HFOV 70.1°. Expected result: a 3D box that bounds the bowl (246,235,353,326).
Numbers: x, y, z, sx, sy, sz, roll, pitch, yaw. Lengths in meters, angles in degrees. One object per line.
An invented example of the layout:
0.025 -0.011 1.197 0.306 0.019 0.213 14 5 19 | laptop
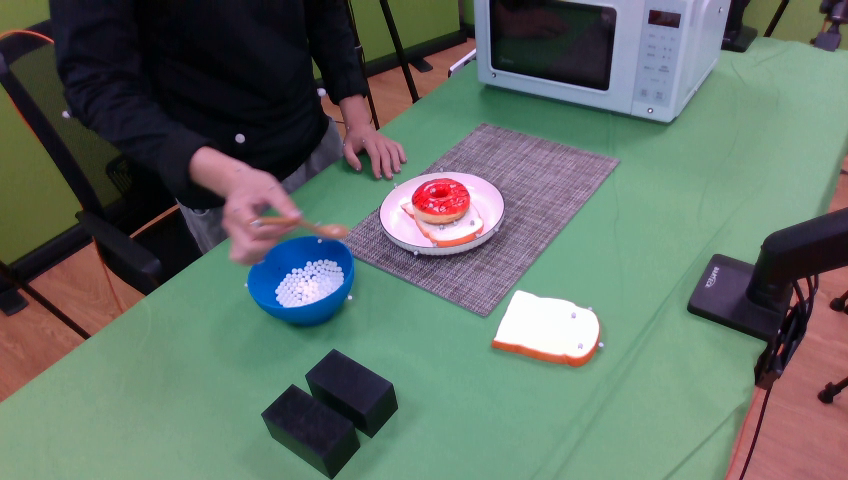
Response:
-0.170 0.070 0.868 0.151 0.077 0.150 -4 41 4 | bowl

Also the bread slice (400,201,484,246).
0.037 -0.038 0.990 0.107 0.018 0.133 -23 42 -17 | bread slice

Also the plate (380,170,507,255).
0.033 -0.042 0.995 0.207 0.039 0.206 -4 40 4 | plate

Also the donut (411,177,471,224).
0.028 -0.064 0.978 0.099 0.048 0.098 -4 39 4 | donut

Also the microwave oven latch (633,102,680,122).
0.444 -0.249 1.157 0.078 0.029 0.030 21 49 30 | microwave oven latch

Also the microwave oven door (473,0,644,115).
0.257 -0.396 1.199 0.353 0.245 0.039 21 48 29 | microwave oven door

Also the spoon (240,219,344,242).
-0.163 -0.015 0.763 0.041 0.021 0.195 21 3 25 | spoon

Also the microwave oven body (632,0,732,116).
0.377 -0.462 1.267 0.438 0.261 0.327 21 48 30 | microwave oven body

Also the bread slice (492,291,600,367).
0.169 0.118 0.811 0.131 0.019 0.105 11 45 21 | bread slice
